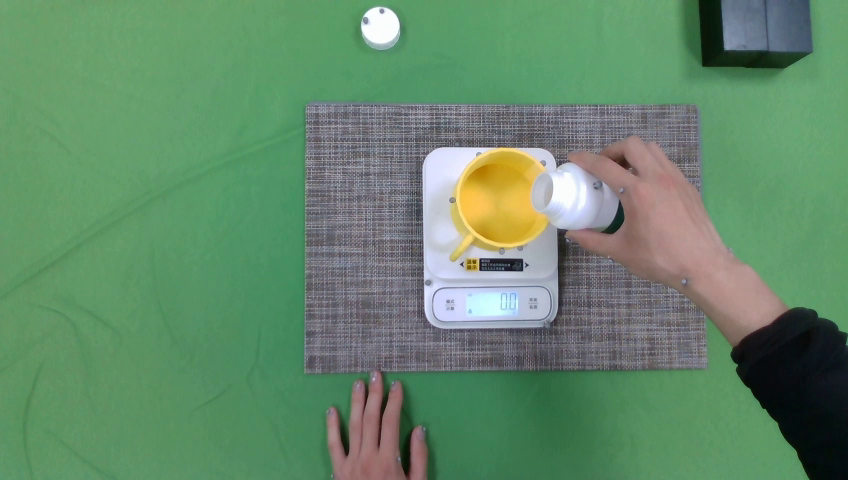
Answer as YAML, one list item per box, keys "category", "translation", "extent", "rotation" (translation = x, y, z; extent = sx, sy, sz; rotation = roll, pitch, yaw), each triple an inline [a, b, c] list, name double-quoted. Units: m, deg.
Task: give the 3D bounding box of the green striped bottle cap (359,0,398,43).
- category: "green striped bottle cap"
  translation: [-0.051, -0.248, 0.688]
  extent: [0.044, 0.020, 0.044]
  rotation: [0, 89, -2]

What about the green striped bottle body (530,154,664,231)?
- category: "green striped bottle body"
  translation: [0.161, -0.045, 0.573]
  extent: [0.120, 0.063, 0.063]
  rotation: [6, 86, -23]

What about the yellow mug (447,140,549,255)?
- category: "yellow mug"
  translation: [0.068, -0.035, 0.622]
  extent: [0.100, 0.064, 0.131]
  rotation: [40, 87, 0]

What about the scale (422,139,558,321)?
- category: "scale"
  translation: [0.073, -0.011, 0.668]
  extent: [0.149, 0.031, 0.200]
  rotation: [-1, 87, -2]
